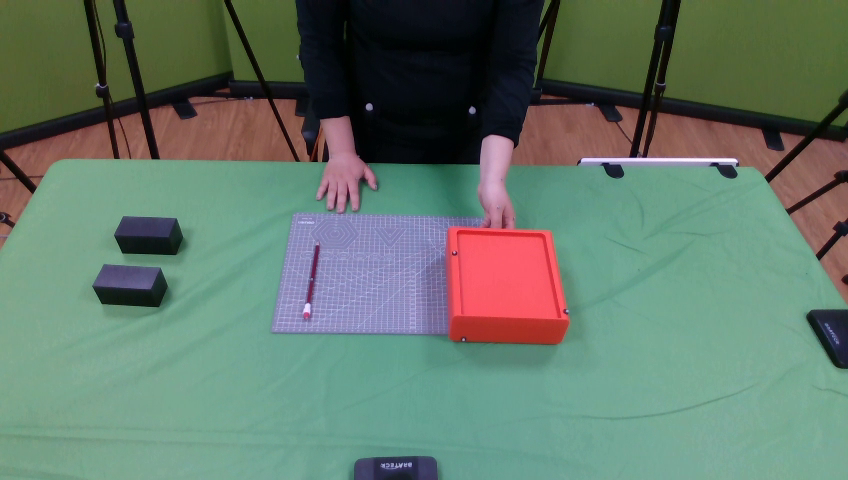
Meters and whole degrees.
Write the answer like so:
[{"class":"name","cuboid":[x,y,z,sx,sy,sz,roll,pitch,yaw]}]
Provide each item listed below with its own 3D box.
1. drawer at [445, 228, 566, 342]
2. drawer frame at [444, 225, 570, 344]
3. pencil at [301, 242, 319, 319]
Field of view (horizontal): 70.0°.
[{"class":"drawer","cuboid":[0.139,0.077,1.091,0.195,0.073,0.210,3,47,-3]},{"class":"drawer frame","cuboid":[0.141,0.077,1.088,0.202,0.083,0.212,2,47,-4]},{"class":"pencil","cuboid":[-0.208,0.070,1.119,0.012,0.012,0.193,2,43,-2]}]
